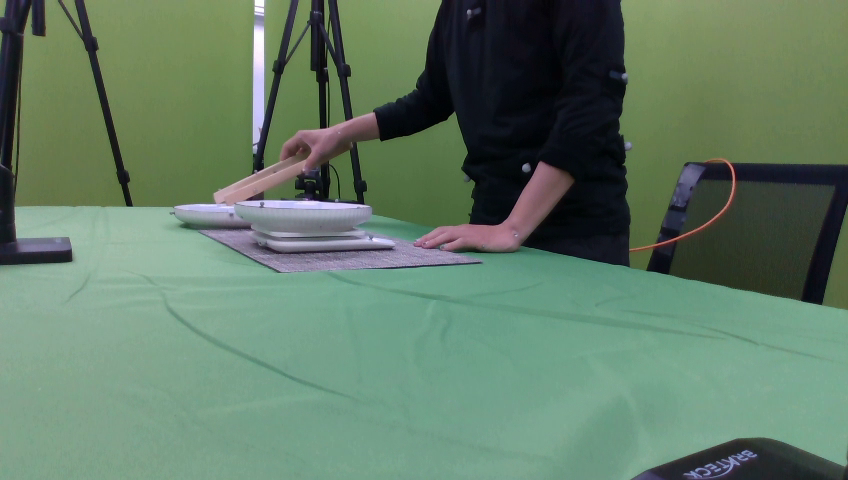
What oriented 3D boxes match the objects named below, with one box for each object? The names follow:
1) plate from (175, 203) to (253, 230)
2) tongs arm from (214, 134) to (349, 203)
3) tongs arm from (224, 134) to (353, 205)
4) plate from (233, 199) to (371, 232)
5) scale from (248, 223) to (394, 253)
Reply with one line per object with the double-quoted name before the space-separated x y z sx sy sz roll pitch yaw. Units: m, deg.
"plate" -0.380 -0.047 1.199 0.208 0.039 0.207 2 7 0
"tongs arm" -0.306 -0.168 1.366 0.050 0.026 0.386 7 30 34
"tongs arm" -0.286 -0.164 1.351 0.028 0.028 0.389 5 29 39
"plate" -0.188 -0.039 0.939 0.209 0.038 0.209 2 7 0
"scale" -0.162 -0.006 0.954 0.202 0.031 0.148 -2 8 -32
